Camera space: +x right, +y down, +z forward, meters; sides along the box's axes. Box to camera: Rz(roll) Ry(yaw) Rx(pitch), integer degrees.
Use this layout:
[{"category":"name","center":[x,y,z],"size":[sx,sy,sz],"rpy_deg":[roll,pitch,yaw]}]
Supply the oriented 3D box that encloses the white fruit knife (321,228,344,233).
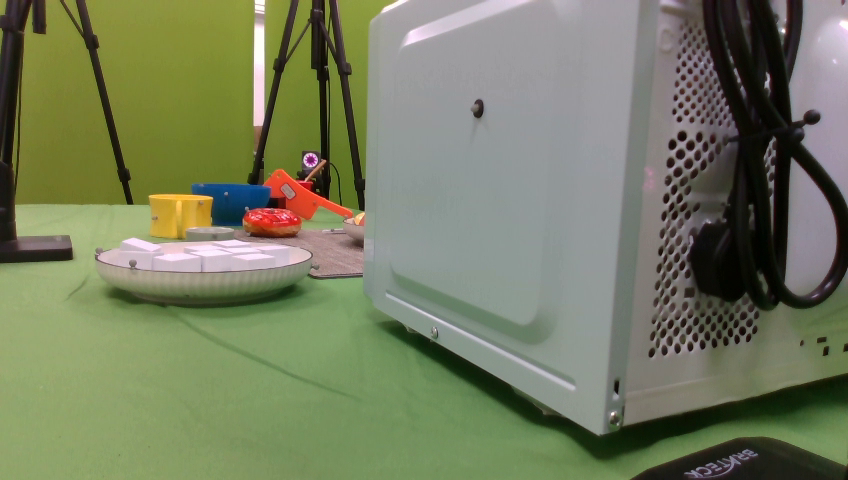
[{"category":"white fruit knife","center":[-0.097,-0.022,1.142],"size":[0.208,0.016,0.027],"rpy_deg":[-4,-21,-32]}]

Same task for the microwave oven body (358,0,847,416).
[{"category":"microwave oven body","center":[0.211,-0.047,0.474],"size":[0.444,0.260,0.324],"rpy_deg":[-1,7,-28]}]

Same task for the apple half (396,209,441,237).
[{"category":"apple half","center":[-0.008,-0.036,1.053],"size":[0.081,0.033,0.081],"rpy_deg":[13,26,-6]}]

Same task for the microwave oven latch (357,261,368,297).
[{"category":"microwave oven latch","center":[-0.019,0.033,0.531],"size":[0.079,0.029,0.030],"rpy_deg":[-1,7,-28]}]

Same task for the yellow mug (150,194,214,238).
[{"category":"yellow mug","center":[-0.401,-0.039,1.003],"size":[0.100,0.064,0.130],"rpy_deg":[0,9,-20]}]

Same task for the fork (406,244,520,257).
[{"category":"fork","center":[0.064,0.015,0.893],"size":[0.208,0.018,0.028],"rpy_deg":[-3,0,-35]}]

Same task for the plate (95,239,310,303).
[{"category":"plate","center":[-0.224,0.031,0.629],"size":[0.208,0.039,0.207],"rpy_deg":[2,8,0]}]

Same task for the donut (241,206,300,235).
[{"category":"donut","center":[-0.263,-0.032,1.039],"size":[0.099,0.048,0.099],"rpy_deg":[4,9,0]}]

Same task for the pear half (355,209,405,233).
[{"category":"pear half","center":[-0.075,-0.035,1.045],"size":[0.088,0.031,0.070],"rpy_deg":[5,26,-7]}]

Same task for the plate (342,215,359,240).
[{"category":"plate","center":[-0.033,-0.014,1.005],"size":[0.209,0.038,0.209],"rpy_deg":[2,8,0]}]

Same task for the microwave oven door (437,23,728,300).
[{"category":"microwave oven door","center":[0.180,-0.072,0.621],"size":[0.358,0.243,0.039],"rpy_deg":[-2,8,-29]}]

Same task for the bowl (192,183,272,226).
[{"category":"bowl","center":[-0.381,-0.071,1.202],"size":[0.151,0.077,0.151],"rpy_deg":[3,7,0]}]

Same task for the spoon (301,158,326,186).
[{"category":"spoon","center":[-0.320,-0.160,1.646],"size":[0.041,0.022,0.194],"rpy_deg":[7,53,35]}]

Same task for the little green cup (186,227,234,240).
[{"category":"little green cup","center":[-0.285,0.005,0.805],"size":[0.061,0.038,0.061],"rpy_deg":[2,8,0]}]

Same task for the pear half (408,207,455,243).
[{"category":"pear half","center":[0.018,-0.026,0.999],"size":[0.076,0.056,0.110],"rpy_deg":[9,7,20]}]

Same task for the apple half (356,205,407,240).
[{"category":"apple half","center":[-0.065,-0.029,0.970],"size":[0.081,0.053,0.074],"rpy_deg":[3,7,-27]}]

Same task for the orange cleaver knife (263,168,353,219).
[{"category":"orange cleaver knife","center":[-0.262,-0.088,1.352],"size":[0.211,0.077,0.012],"rpy_deg":[28,13,0]}]
